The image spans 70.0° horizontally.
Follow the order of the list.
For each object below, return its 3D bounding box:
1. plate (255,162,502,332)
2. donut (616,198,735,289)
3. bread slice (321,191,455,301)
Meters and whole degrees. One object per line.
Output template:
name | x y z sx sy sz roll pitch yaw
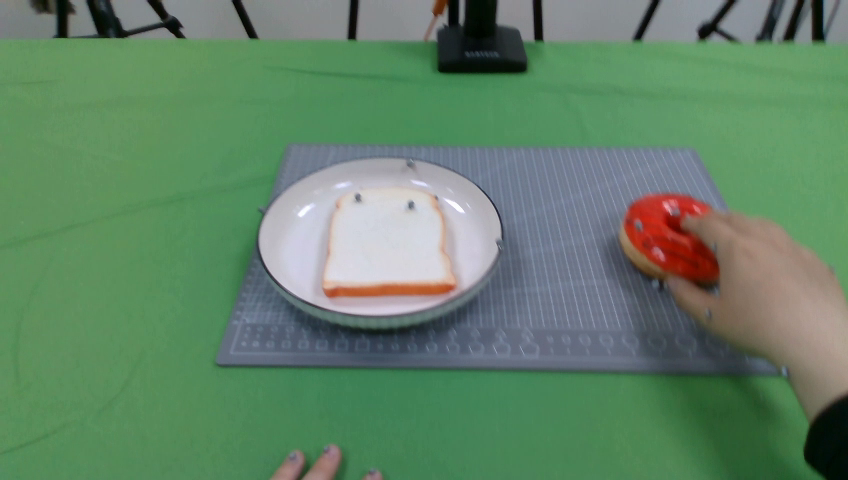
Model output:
plate | -0.037 0.005 0.526 0.209 0.038 0.207 1 41 -1
donut | 0.218 0.003 0.528 0.099 0.048 0.098 2 43 -1
bread slice | -0.035 0.003 0.531 0.107 0.018 0.133 -3 42 -6
